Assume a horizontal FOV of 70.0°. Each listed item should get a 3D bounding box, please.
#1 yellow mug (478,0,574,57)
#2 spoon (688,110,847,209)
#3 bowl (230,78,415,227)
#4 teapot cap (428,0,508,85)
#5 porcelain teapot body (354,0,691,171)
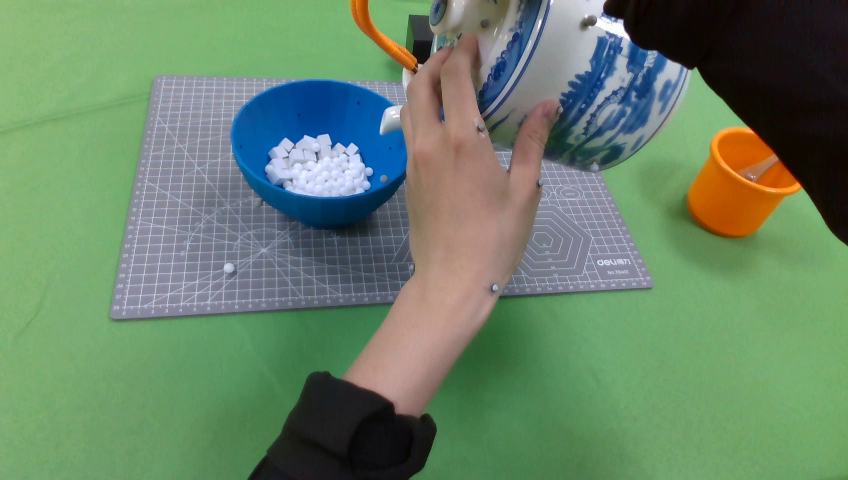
[{"bbox_3d":[0.108,-0.250,0.663,0.099,0.064,0.130,25,53,10],"label":"yellow mug"},{"bbox_3d":[0.349,-0.086,0.581,0.022,0.194,0.041,33,32,-44],"label":"spoon"},{"bbox_3d":[-0.086,-0.064,0.527,0.151,0.077,0.150,5,49,-6],"label":"bowl"},{"bbox_3d":[0.026,-0.146,0.399,0.044,0.085,0.084,7,48,-27],"label":"teapot cap"},{"bbox_3d":[0.047,-0.125,0.438,0.227,0.206,0.144,11,58,-28],"label":"porcelain teapot body"}]
